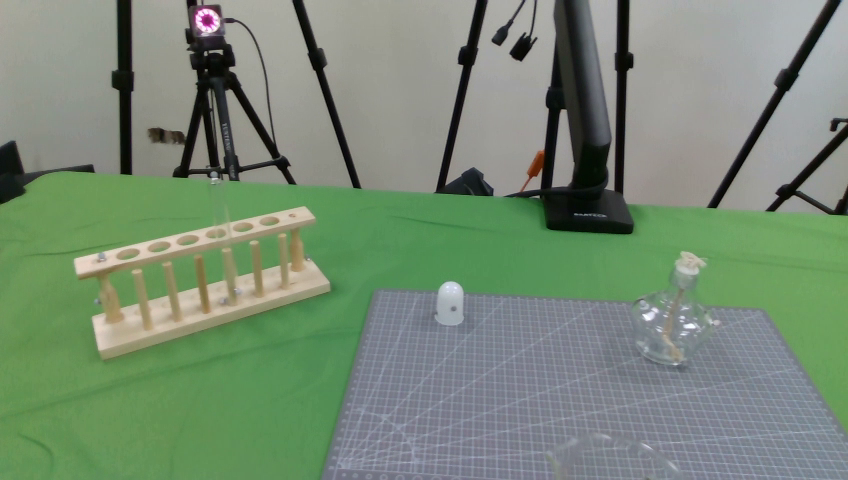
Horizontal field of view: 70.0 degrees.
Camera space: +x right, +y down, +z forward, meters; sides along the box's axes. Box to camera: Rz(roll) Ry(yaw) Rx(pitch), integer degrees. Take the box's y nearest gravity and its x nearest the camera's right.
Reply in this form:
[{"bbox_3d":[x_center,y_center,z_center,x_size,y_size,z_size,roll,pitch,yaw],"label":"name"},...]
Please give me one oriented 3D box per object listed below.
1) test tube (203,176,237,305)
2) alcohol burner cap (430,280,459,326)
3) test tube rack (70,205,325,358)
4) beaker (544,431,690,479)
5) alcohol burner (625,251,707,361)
[{"bbox_3d":[-0.211,0.003,0.629,0.017,0.151,0.017,2,31,-1],"label":"test tube"},{"bbox_3d":[0.023,0.066,0.658,0.034,0.048,0.033,1,30,0],"label":"alcohol burner cap"},{"bbox_3d":[-0.236,0.038,0.659,0.243,0.086,0.066,-16,35,-27],"label":"test tube rack"},{"bbox_3d":[0.103,0.174,0.355,0.083,0.101,0.074,17,26,28],"label":"beaker"},{"bbox_3d":[0.244,0.061,0.602,0.078,0.120,0.077,2,31,-1],"label":"alcohol burner"}]
